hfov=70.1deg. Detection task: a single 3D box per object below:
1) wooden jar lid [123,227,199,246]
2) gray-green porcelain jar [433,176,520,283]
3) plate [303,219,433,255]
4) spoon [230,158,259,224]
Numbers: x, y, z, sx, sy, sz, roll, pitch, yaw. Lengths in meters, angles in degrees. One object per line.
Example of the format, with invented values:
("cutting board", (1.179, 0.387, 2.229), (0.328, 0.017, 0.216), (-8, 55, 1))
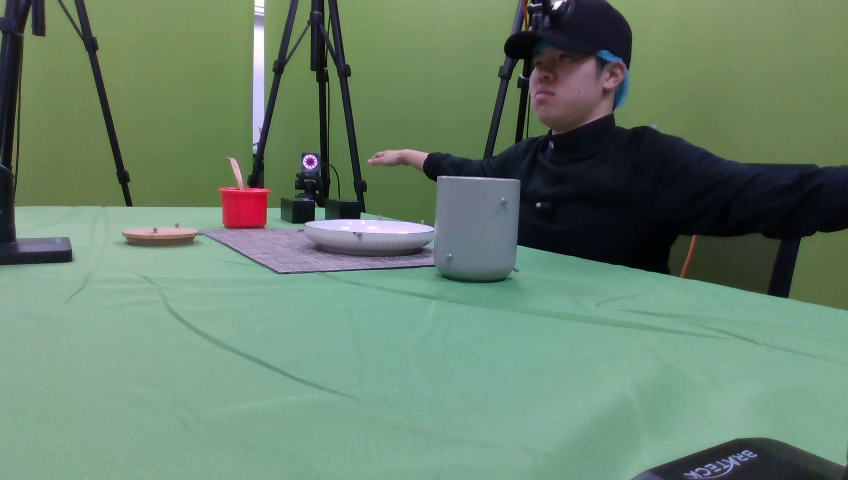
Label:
("wooden jar lid", (-0.408, -0.006, 0.942), (0.108, 0.020, 0.108), (3, 6, 0))
("gray-green porcelain jar", (0.064, -0.015, 0.759), (0.106, 0.126, 0.106), (2, 7, 0))
("plate", (-0.085, -0.005, 0.952), (0.208, 0.039, 0.207), (3, 7, 0))
("spoon", (-0.366, -0.101, 1.215), (0.042, 0.021, 0.193), (-1, 52, -30))
